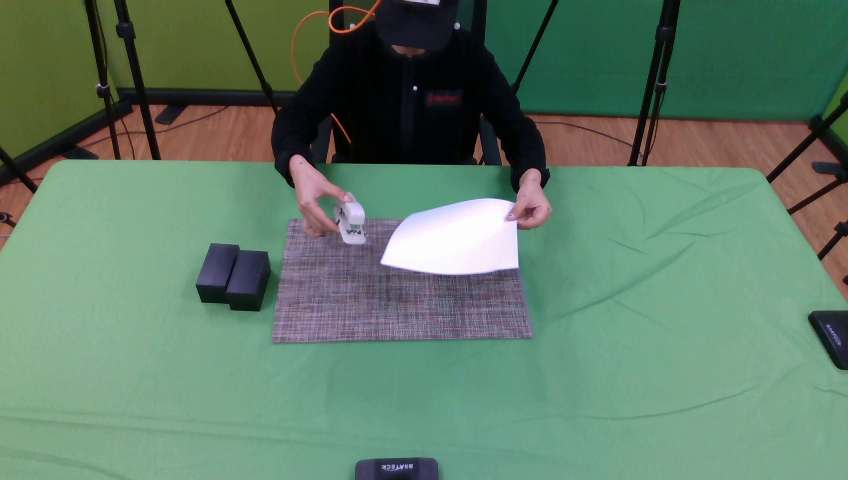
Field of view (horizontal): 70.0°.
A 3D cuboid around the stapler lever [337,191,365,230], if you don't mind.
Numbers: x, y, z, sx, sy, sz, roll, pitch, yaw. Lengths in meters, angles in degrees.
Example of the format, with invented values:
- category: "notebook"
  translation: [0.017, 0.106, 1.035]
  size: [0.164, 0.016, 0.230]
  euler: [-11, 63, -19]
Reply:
- category: "stapler lever"
  translation: [-0.131, -0.061, 1.077]
  size: [0.027, 0.040, 0.117]
  euler: [2, 33, -23]

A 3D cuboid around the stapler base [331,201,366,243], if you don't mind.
- category: "stapler base"
  translation: [-0.135, -0.040, 1.089]
  size: [0.041, 0.024, 0.129]
  euler: [2, 32, -23]
